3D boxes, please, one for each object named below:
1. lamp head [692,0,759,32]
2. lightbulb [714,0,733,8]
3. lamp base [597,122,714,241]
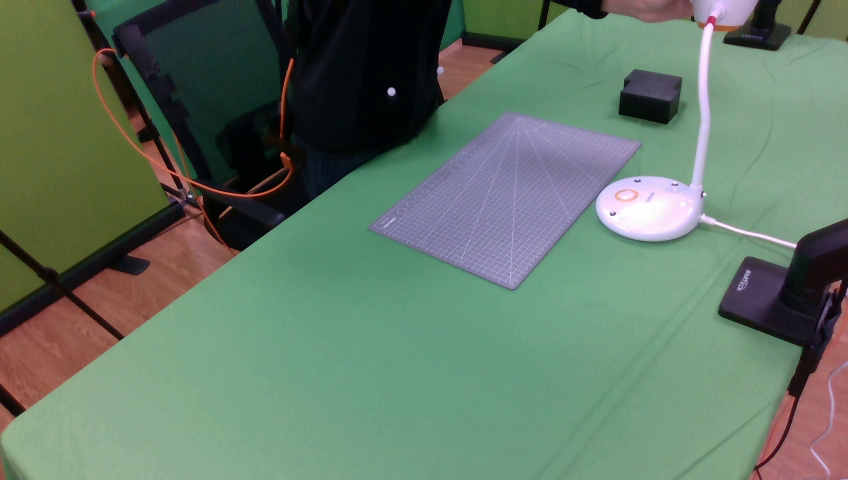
[{"bbox_3d":[0.435,-0.363,0.868,0.112,0.123,0.112,1,28,0],"label":"lamp head"},{"bbox_3d":[0.432,-0.387,0.861,0.059,0.108,0.059,-6,32,4],"label":"lightbulb"},{"bbox_3d":[0.363,-0.110,0.921,0.178,0.181,0.160,13,45,21],"label":"lamp base"}]
